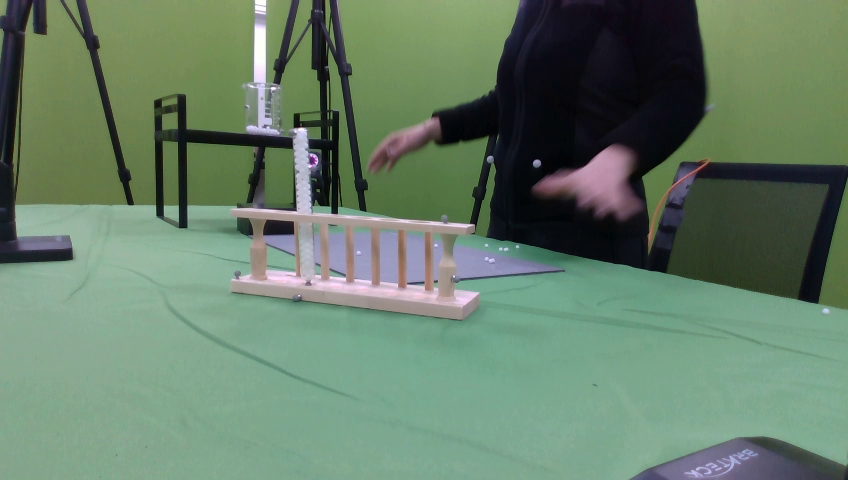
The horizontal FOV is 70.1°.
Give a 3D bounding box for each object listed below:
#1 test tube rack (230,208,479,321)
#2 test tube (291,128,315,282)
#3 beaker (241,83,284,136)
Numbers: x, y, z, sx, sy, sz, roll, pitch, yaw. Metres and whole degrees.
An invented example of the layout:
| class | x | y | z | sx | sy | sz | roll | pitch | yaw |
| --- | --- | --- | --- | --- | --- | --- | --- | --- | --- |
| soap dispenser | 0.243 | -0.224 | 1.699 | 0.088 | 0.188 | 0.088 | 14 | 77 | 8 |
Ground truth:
| class | x | y | z | sx | sy | sz | roll | pitch | yaw |
| --- | --- | --- | --- | --- | --- | --- | --- | --- | --- |
| test tube rack | -0.069 | 0.017 | 0.598 | 0.242 | 0.085 | 0.067 | 5 | 8 | 18 |
| test tube | -0.118 | -0.033 | 0.590 | 0.017 | 0.150 | 0.017 | -2 | 8 | 1 |
| beaker | -0.323 | -0.260 | 1.208 | 0.084 | 0.100 | 0.073 | -4 | 9 | -37 |
